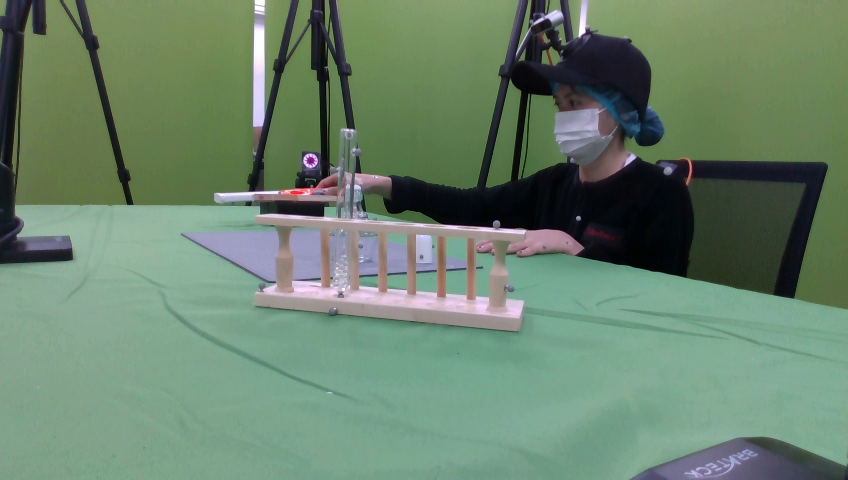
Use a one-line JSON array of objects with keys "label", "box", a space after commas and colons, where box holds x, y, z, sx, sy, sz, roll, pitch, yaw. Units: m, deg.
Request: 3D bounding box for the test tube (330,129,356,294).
[{"label": "test tube", "box": [-0.074, -0.025, 0.548, 0.017, 0.150, 0.017, 4, 6, 0]}]

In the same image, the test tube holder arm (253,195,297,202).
[{"label": "test tube holder arm", "box": [-0.294, -0.082, 1.194, 0.088, 0.015, 0.010, -4, 8, -38]}]

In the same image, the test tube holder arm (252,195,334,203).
[{"label": "test tube holder arm", "box": [-0.262, -0.084, 1.227, 0.179, 0.015, 0.013, -4, 8, -39]}]

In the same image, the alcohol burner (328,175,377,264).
[{"label": "alcohol burner", "box": [-0.098, -0.028, 0.819, 0.078, 0.119, 0.078, 1, 8, 0]}]

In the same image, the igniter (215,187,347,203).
[{"label": "igniter", "box": [-0.289, -0.092, 1.254, 0.278, 0.025, 0.057, -6, 15, -36]}]

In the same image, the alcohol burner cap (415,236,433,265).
[{"label": "alcohol burner cap", "box": [-0.004, 0.011, 0.835, 0.034, 0.048, 0.034, 2, 7, 0]}]

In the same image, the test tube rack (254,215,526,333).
[{"label": "test tube rack", "box": [-0.030, 0.025, 0.557, 0.242, 0.085, 0.067, 4, 7, 12]}]
